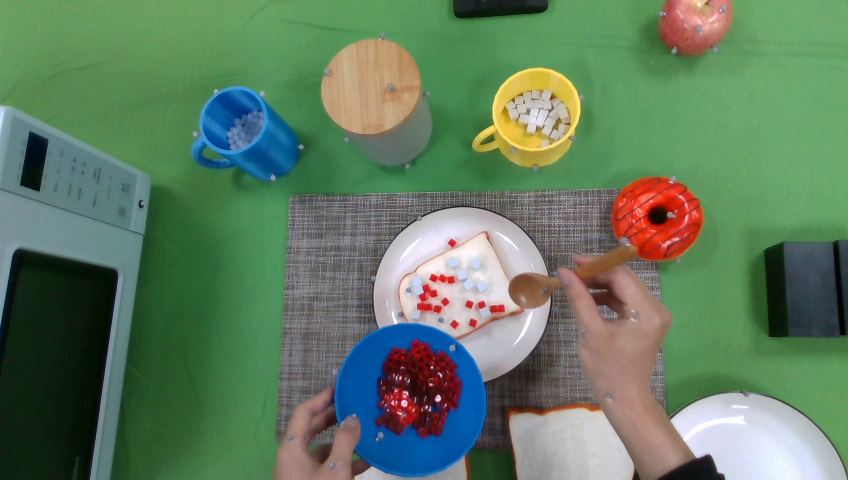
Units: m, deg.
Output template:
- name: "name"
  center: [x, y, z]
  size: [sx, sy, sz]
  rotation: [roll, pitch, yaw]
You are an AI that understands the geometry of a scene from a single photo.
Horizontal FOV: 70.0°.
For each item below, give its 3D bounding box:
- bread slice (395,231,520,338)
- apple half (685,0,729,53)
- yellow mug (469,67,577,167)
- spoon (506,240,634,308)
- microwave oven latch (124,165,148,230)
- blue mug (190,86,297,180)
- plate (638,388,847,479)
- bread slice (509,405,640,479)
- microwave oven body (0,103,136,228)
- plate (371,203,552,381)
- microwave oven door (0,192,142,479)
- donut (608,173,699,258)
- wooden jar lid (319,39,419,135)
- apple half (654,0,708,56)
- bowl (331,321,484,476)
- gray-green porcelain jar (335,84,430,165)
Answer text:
- name: "bread slice"
  center: [0.034, 0.062, 0.709]
  size: [0.131, 0.019, 0.104]
  rotation: [-26, 77, 1]
- name: "apple half"
  center: [0.322, -0.264, 0.708]
  size: [0.053, 0.075, 0.080]
  rotation: [-32, 74, -4]
- name: "yellow mug"
  center: [0.114, -0.138, 0.719]
  size: [0.131, 0.064, 0.099]
  rotation: [-24, 78, 4]
- name: "spoon"
  center: [0.128, 0.034, 0.555]
  size: [0.021, 0.194, 0.041]
  rotation: [-38, 90, -23]
- name: "microwave oven latch"
  center: [-0.371, -0.054, 0.764]
  size: [0.030, 0.029, 0.079]
  rotation: [5, 82, 8]
- name: "blue mug"
  center: [-0.227, -0.120, 0.741]
  size: [0.116, 0.106, 0.082]
  rotation: [-26, 78, 3]
- name: "plate"
  center: [0.330, 0.261, 0.639]
  size: [0.209, 0.038, 0.208]
  rotation: [-1, 80, 8]
- name: "bread slice"
  center: [0.163, 0.232, 0.639]
  size: [0.135, 0.018, 0.106]
  rotation: [-5, 76, -13]
- name: "microwave oven body"
  center: [-0.542, 0.097, 0.664]
  size: [0.325, 0.261, 0.440]
  rotation: [3, 82, 8]
- name: "plate"
  center: [0.043, 0.061, 0.706]
  size: [0.207, 0.039, 0.207]
  rotation: [-1, 81, 8]
- name: "microwave oven door"
  center: [-0.402, 0.145, 0.632]
  size: [0.039, 0.245, 0.354]
  rotation: [2, 81, 8]
- name: "donut"
  center: [0.259, -0.028, 0.688]
  size: [0.099, 0.048, 0.098]
  rotation: [-1, 81, 8]
- name: "wooden jar lid"
  center: [-0.058, -0.162, 0.651]
  size: [0.108, 0.021, 0.108]
  rotation: [-2, 78, 8]
- name: "apple half"
  center: [0.290, -0.242, 0.707]
  size: [0.033, 0.081, 0.081]
  rotation: [-33, 77, -4]
- name: "bowl"
  center: [-0.021, 0.167, 0.620]
  size: [0.152, 0.077, 0.150]
  rotation: [5, 62, -9]
- name: "gray-green porcelain jar"
  center: [-0.050, -0.151, 0.712]
  size: [0.106, 0.127, 0.105]
  rotation: [-1, 80, 8]
